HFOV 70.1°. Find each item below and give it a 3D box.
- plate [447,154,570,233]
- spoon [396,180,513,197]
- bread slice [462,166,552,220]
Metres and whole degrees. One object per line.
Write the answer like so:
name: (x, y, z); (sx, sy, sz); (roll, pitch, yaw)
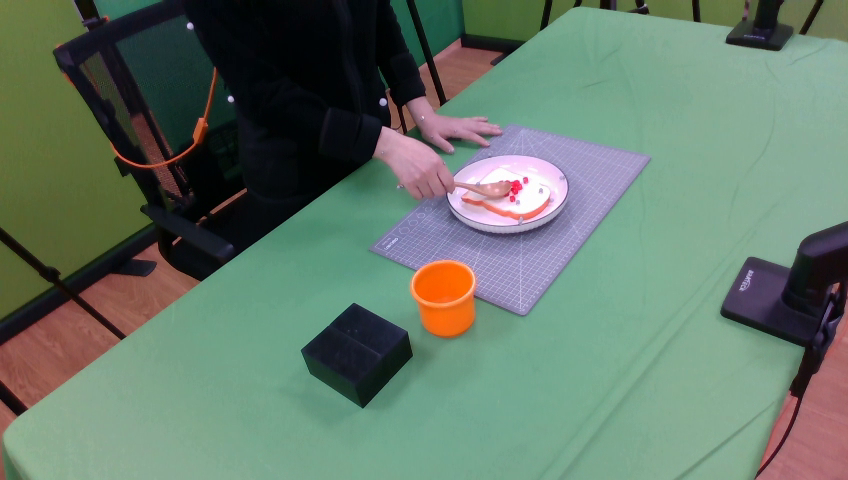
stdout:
plate: (0.143, -0.076, 1.032); (0.209, 0.038, 0.208); (-5, 40, 5)
spoon: (0.051, -0.090, 1.002); (0.194, 0.021, 0.041); (4, 39, -10)
bread slice: (0.149, -0.079, 1.036); (0.133, 0.018, 0.107); (22, 50, 31)
